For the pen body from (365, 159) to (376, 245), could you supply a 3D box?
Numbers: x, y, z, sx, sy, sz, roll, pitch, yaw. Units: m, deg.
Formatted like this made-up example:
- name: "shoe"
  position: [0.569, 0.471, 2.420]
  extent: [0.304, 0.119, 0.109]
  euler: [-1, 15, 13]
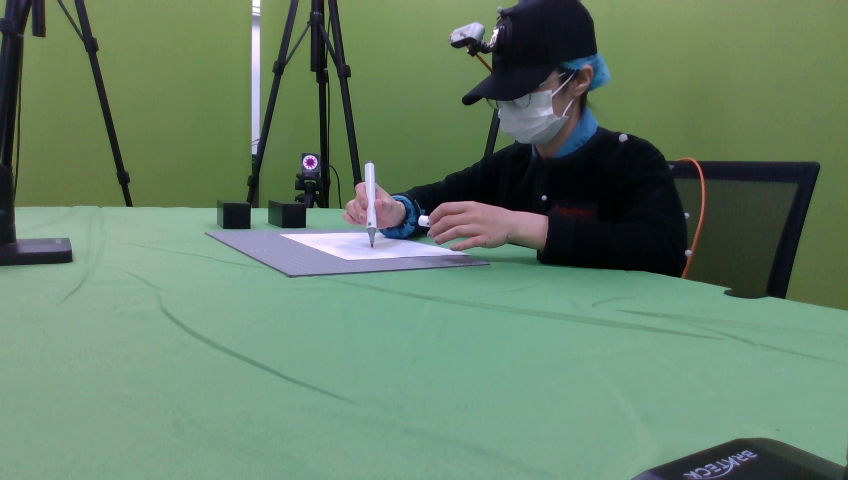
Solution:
- name: "pen body"
  position: [-0.084, -0.060, 0.954]
  extent: [0.017, 0.144, 0.017]
  euler: [-3, -18, -1]

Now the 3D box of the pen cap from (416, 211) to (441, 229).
- name: "pen cap"
  position: [0.008, -0.029, 0.901]
  extent: [0.038, 0.017, 0.017]
  euler: [26, 19, 31]
